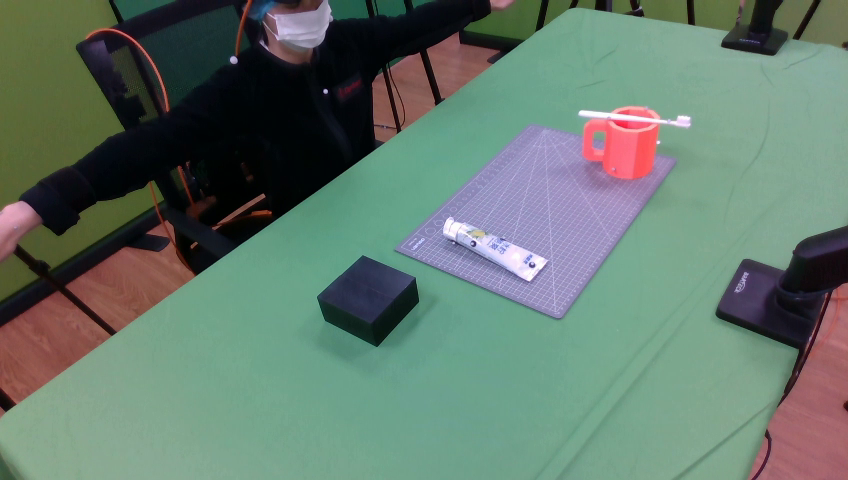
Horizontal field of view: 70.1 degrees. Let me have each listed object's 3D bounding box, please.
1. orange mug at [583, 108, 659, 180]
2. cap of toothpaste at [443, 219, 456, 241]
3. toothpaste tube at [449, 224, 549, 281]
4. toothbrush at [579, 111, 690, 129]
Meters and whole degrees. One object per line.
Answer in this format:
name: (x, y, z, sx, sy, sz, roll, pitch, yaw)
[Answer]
orange mug: (0.343, -0.171, 1.061, 0.126, 0.101, 0.083, 10, 43, 15)
cap of toothpaste: (0.044, -0.017, 0.972, 0.011, 0.037, 0.037, 15, 45, 26)
toothpaste tube: (0.107, 0.015, 0.934, 0.164, 0.035, 0.055, 25, 55, 28)
toothbrush: (0.352, -0.205, 1.019, 0.181, 0.017, 0.014, 10, 47, 21)
